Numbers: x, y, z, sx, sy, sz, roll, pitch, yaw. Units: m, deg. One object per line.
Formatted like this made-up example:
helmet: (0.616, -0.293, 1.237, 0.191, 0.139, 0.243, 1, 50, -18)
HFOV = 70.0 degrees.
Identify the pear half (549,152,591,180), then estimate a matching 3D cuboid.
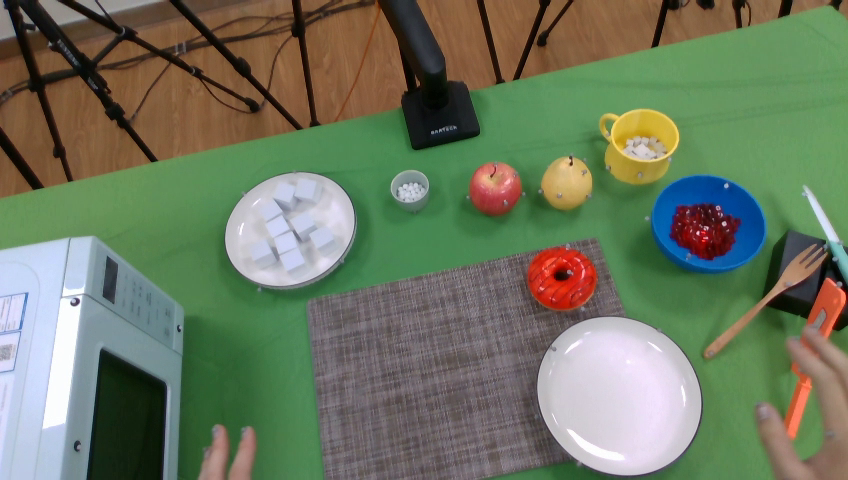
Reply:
pear half: (0.225, -0.115, 0.928, 0.070, 0.089, 0.031, 14, 67, 18)

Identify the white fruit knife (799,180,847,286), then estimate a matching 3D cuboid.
white fruit knife: (0.554, 0.003, 0.819, 0.027, 0.016, 0.205, 4, 58, -24)

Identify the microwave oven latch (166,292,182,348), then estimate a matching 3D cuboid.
microwave oven latch: (-0.372, 0.118, 0.885, 0.030, 0.030, 0.078, -8, 64, 2)

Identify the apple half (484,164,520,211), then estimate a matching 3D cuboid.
apple half: (0.126, -0.072, 0.925, 0.032, 0.082, 0.081, 33, 71, 24)

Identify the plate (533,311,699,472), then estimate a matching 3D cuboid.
plate: (0.248, 0.197, 0.795, 0.209, 0.038, 0.207, -2, 63, 5)

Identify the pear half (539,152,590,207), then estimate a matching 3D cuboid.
pear half: (0.208, -0.090, 0.905, 0.076, 0.111, 0.055, 15, 65, 18)

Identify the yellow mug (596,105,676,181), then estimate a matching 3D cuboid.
yellow mug: (0.323, -0.161, 0.953, 0.100, 0.064, 0.130, -42, 66, -13)

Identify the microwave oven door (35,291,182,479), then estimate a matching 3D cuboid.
microwave oven door: (-0.354, 0.265, 0.695, 0.039, 0.246, 0.352, -10, 63, 1)

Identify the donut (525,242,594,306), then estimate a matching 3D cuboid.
donut: (0.194, 0.048, 0.871, 0.099, 0.048, 0.098, -3, 65, 7)

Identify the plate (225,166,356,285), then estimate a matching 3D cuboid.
plate: (-0.207, -0.021, 0.957, 0.207, 0.039, 0.206, -2, 63, 5)

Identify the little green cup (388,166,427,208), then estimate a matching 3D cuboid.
little green cup: (-0.024, -0.083, 0.968, 0.061, 0.039, 0.061, -3, 63, 6)

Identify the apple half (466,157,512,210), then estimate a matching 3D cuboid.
apple half: (0.096, -0.091, 0.940, 0.053, 0.075, 0.080, 33, 74, 24)

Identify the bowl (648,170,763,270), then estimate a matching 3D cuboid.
bowl: (0.390, -0.016, 0.867, 0.151, 0.077, 0.150, -2, 64, 5)

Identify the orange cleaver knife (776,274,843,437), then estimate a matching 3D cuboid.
orange cleaver knife: (0.486, 0.146, 0.774, 0.012, 0.077, 0.211, 17, 96, 12)

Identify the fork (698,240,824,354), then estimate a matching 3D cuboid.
fork: (0.446, 0.079, 0.808, 0.207, 0.019, 0.028, -45, 72, 6)

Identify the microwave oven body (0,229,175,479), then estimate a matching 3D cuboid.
microwave oven body: (-0.503, 0.255, 0.722, 0.326, 0.262, 0.437, -10, 64, 1)
